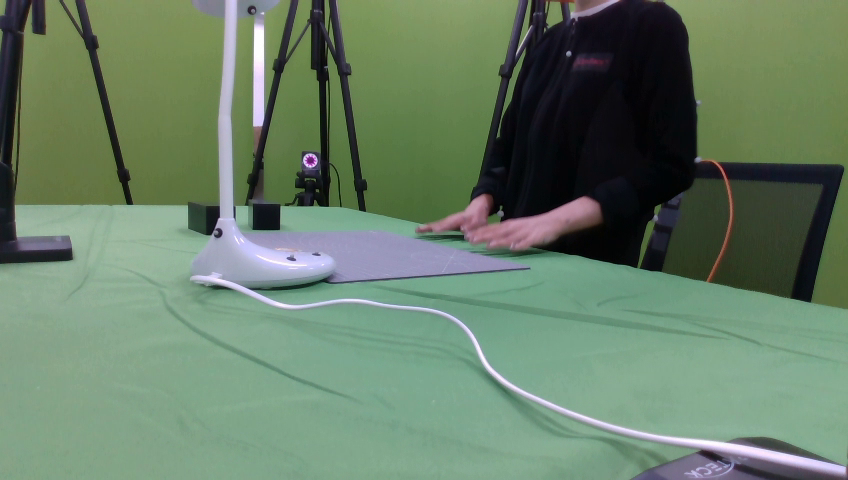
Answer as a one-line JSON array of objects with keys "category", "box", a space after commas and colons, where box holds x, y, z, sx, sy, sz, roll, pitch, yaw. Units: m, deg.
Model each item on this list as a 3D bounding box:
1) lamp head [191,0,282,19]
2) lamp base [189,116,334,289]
[{"category": "lamp head", "box": [-0.222, -0.330, 0.689, 0.112, 0.112, 0.123, 3, -33, -4]}, {"category": "lamp base", "box": [-0.185, -0.044, 0.669, 0.160, 0.180, 0.179, 3, 10, 14]}]
